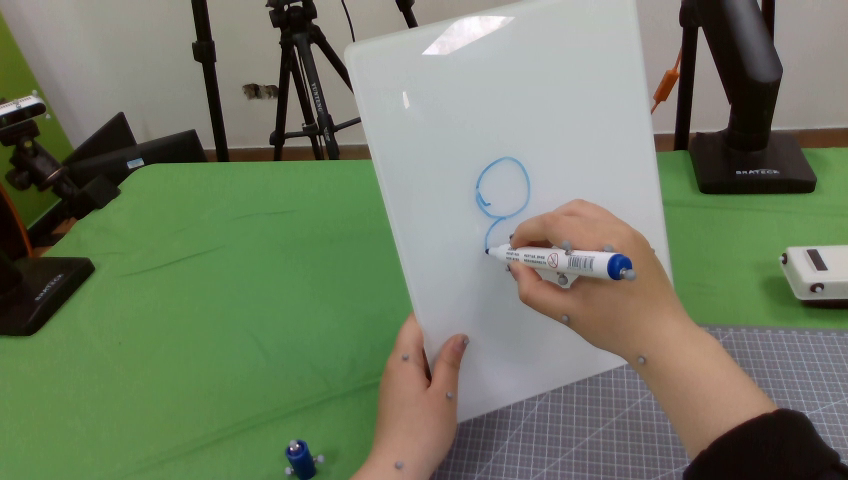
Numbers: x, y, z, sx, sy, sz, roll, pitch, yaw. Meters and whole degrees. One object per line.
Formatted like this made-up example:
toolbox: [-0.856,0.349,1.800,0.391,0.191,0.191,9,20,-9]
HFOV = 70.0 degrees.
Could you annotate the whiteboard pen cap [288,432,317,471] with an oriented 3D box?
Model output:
whiteboard pen cap: [-0.094,0.166,0.472,0.018,0.033,0.018,-6,38,5]

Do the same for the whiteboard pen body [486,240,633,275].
whiteboard pen body: [0.080,0.009,0.397,0.017,0.017,0.140,-29,16,-23]

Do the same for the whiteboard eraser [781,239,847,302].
whiteboard eraser: [0.383,0.027,0.533,0.112,0.042,0.055,-1,40,11]

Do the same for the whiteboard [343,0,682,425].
whiteboard: [0.071,-0.039,0.524,0.217,0.307,0.143,-17,17,-7]
